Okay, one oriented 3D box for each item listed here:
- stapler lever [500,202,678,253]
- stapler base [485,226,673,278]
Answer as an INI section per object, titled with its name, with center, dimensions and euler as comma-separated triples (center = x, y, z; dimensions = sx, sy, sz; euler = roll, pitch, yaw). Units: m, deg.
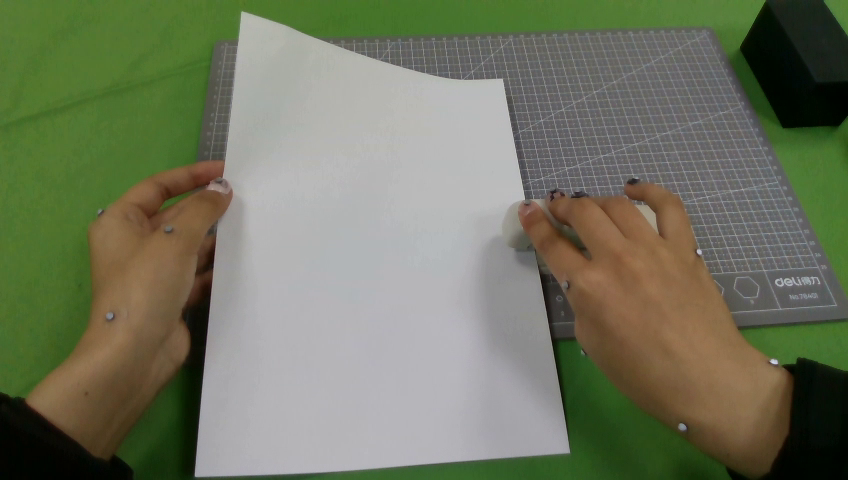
[stapler lever]
center = 0.110, -0.009, 0.403
dimensions = 0.118, 0.040, 0.026
euler = -4, 59, 1
[stapler base]
center = 0.109, 0.002, 0.418
dimensions = 0.131, 0.024, 0.041
euler = -1, 59, -5
